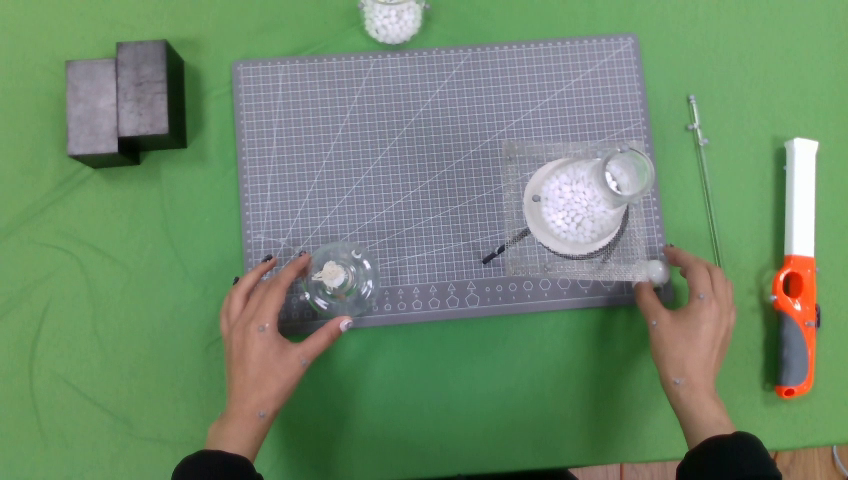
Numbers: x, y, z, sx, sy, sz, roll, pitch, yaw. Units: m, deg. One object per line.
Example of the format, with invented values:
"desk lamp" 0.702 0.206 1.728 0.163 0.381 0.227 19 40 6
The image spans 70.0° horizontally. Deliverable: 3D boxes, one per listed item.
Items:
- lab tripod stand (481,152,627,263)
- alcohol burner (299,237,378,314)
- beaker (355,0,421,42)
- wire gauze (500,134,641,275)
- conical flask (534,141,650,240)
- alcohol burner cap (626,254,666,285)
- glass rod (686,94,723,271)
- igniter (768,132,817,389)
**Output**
"lab tripod stand" 0.127 -0.022 0.587 0.148 0.131 0.148 0 85 -1
"alcohol burner" -0.085 0.033 0.583 0.078 0.119 0.077 0 85 0
"beaker" -0.035 -0.256 0.627 0.084 0.100 0.074 31 84 1
"wire gauze" 0.127 -0.031 0.522 0.125 0.011 0.121 1 86 -4
"conical flask" 0.132 -0.042 0.464 0.075 0.122 0.075 0 85 -2
"alcohol burner cap" 0.234 0.029 0.631 0.034 0.048 0.034 0 83 -1
"glass rod" 0.306 -0.064 0.663 0.008 0.008 0.199 -7 83 -3
"igniter" 0.395 0.021 0.648 0.057 0.025 0.275 7 83 -12
